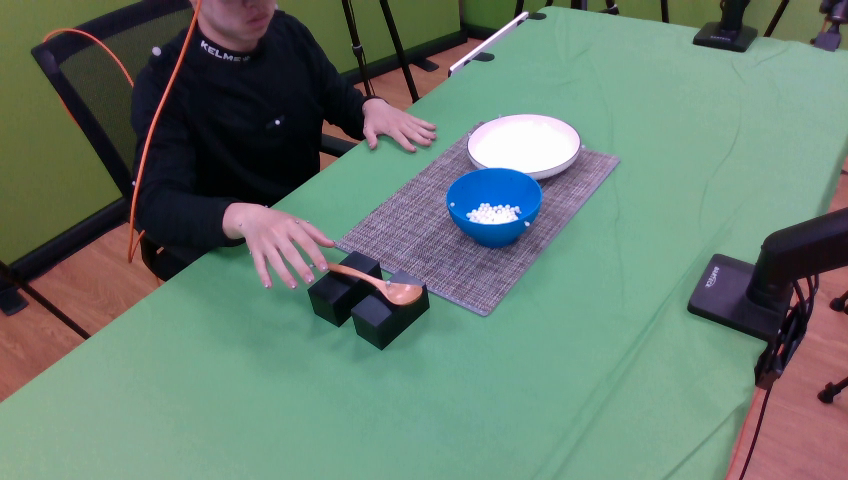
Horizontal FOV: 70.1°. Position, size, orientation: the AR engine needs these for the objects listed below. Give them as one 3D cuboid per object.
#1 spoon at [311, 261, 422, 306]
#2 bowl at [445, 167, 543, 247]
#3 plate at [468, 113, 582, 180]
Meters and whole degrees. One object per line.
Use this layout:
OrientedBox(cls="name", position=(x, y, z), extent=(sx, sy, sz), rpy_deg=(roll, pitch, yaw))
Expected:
OrientedBox(cls="spoon", position=(-0.085, 0.055, 0.843), extent=(0.192, 0.022, 0.042), rpy_deg=(19, 46, 29))
OrientedBox(cls="bowl", position=(0.111, -0.042, 0.952), extent=(0.151, 0.077, 0.150), rpy_deg=(-4, 41, 4))
OrientedBox(cls="plate", position=(0.186, -0.169, 1.122), extent=(0.207, 0.039, 0.206), rpy_deg=(-4, 40, 4))
